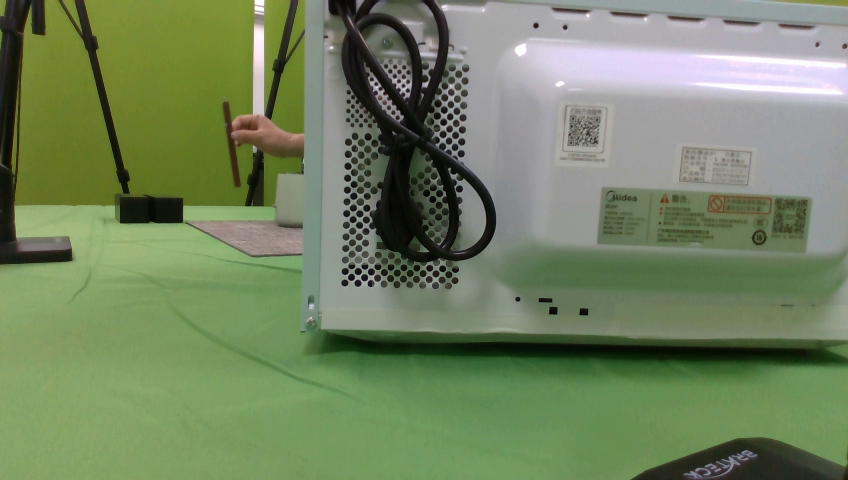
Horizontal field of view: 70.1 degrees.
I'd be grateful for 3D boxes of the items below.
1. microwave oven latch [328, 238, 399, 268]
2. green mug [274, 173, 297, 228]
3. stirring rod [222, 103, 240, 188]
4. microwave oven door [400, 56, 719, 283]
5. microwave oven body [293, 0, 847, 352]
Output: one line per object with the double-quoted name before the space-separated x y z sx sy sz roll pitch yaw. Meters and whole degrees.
"microwave oven latch" -0.069 0.015 0.694 0.079 0.029 0.030 3 7 -3
"green mug" -0.242 -0.081 1.221 0.092 0.105 0.126 8 9 39
"stirring rod" -0.400 -0.195 1.256 0.006 0.176 0.014 10 20 42
"microwave oven door" 0.155 -0.078 0.697 0.356 0.243 0.039 2 8 -5
"microwave oven body" 0.122 -0.055 0.550 0.442 0.260 0.325 3 7 -5
